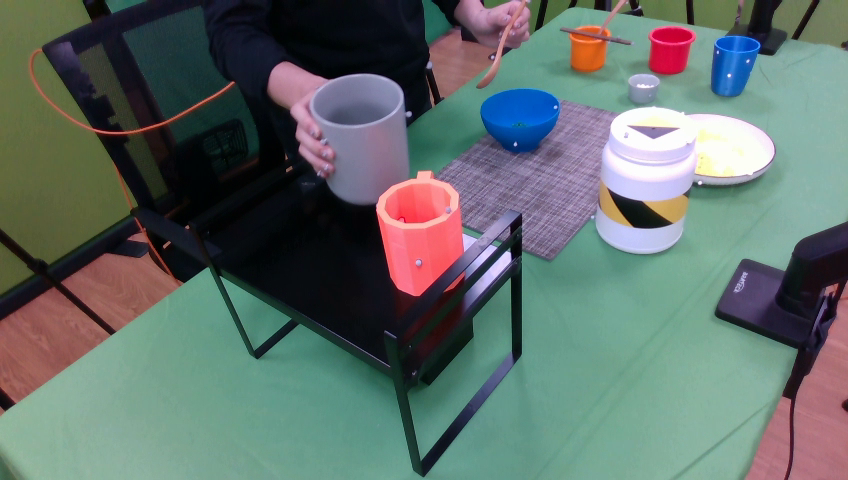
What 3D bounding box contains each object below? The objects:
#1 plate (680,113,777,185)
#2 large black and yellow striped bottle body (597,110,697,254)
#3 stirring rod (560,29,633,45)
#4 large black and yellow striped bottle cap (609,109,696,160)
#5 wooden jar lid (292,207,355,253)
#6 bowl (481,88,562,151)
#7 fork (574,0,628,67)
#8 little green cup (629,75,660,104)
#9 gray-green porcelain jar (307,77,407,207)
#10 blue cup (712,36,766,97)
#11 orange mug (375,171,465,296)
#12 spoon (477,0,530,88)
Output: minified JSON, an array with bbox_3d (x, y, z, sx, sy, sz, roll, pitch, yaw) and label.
[{"bbox_3d":[0.506,-0.158,1.073,0.209,0.038,0.208,-5,40,4],"label":"plate"},{"bbox_3d":[0.331,-0.086,0.904,0.131,0.185,0.130,-5,41,4],"label":"large black and yellow striped bottle body"},{"bbox_3d":[0.381,-0.452,1.344,0.174,0.006,0.014,25,49,33],"label":"stirring rod"},{"bbox_3d":[0.319,-0.150,0.849,0.115,0.019,0.114,-4,39,3],"label":"large black and yellow striped bottle cap"},{"bbox_3d":[-0.169,-0.015,1.026,0.108,0.021,0.108,-5,39,4],"label":"wooden jar lid"},{"bbox_3d":[0.187,-0.223,1.161,0.151,0.077,0.150,-4,40,4],"label":"bowl"},{"bbox_3d":[0.413,-0.481,1.377,0.207,0.019,0.028,-56,43,12],"label":"fork"},{"bbox_3d":[0.457,-0.314,1.260,0.061,0.039,0.061,-4,40,4],"label":"little green cup"},{"bbox_3d":[-0.075,-0.111,0.721,0.106,0.127,0.105,-2,48,3],"label":"gray-green porcelain jar"},{"bbox_3d":[0.627,-0.350,1.227,0.092,0.100,0.092,-4,39,4],"label":"blue cup"},{"bbox_3d":[0.000,-0.016,0.661,0.083,0.101,0.125,-2,45,8],"label":"orange mug"},{"bbox_3d":[0.140,-0.342,1.022,0.021,0.042,0.193,25,91,6],"label":"spoon"}]
